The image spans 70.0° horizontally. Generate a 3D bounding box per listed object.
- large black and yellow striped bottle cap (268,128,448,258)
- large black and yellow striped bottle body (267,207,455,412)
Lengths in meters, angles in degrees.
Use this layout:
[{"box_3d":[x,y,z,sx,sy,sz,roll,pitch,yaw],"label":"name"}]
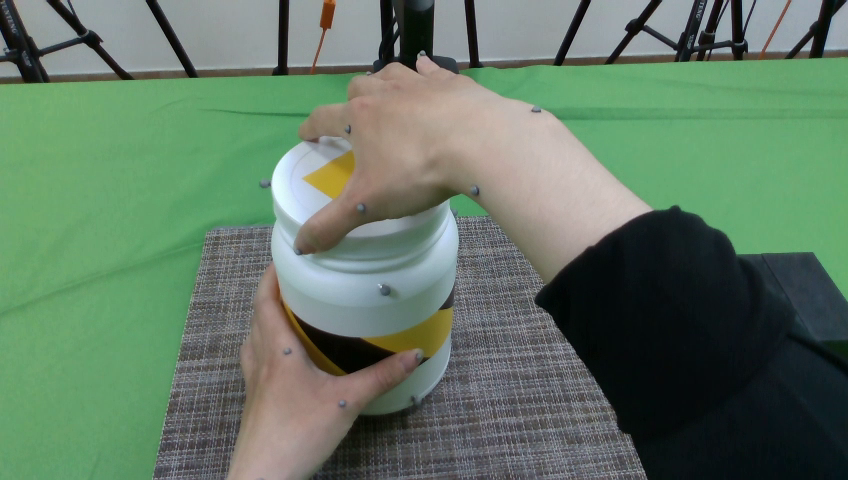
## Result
[{"box_3d":[-0.042,-0.035,0.393,0.115,0.019,0.114,2,44,-1],"label":"large black and yellow striped bottle cap"},{"box_3d":[-0.044,0.029,0.456,0.131,0.185,0.129,1,44,-1],"label":"large black and yellow striped bottle body"}]
